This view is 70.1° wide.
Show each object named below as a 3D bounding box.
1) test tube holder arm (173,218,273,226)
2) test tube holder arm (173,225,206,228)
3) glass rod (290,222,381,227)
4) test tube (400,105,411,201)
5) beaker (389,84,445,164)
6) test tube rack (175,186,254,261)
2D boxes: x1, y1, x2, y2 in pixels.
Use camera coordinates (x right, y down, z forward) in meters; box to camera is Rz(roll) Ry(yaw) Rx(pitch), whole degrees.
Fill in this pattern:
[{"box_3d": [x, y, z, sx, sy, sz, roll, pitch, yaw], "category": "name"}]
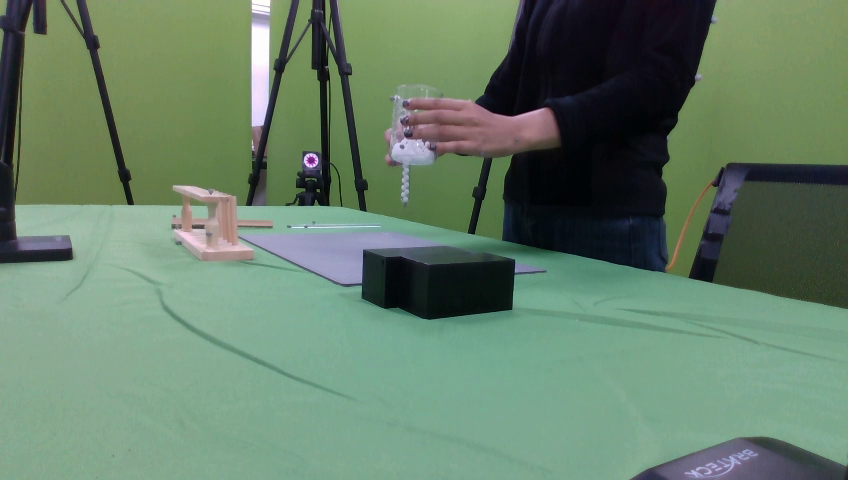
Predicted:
[{"box_3d": [-0.371, -0.033, 1.128, 0.179, 0.015, 0.013, -1, -22, -25], "category": "test tube holder arm"}, {"box_3d": [-0.414, -0.030, 1.113, 0.088, 0.015, 0.010, -1, -22, -25], "category": "test tube holder arm"}, {"box_3d": [-0.178, -0.033, 1.247, 0.201, 0.008, 0.008, -2, 8, -30], "category": "glass rod"}, {"box_3d": [-0.028, -0.134, 0.943, 0.017, 0.150, 0.017, 1, 19, 0], "category": "test tube"}, {"box_3d": [-0.013, -0.164, 0.874, 0.074, 0.100, 0.084, 6, -4, -15], "category": "beaker"}, {"box_3d": [-0.314, -0.031, 0.889, 0.067, 0.085, 0.241, -2, 8, -30], "category": "test tube rack"}]
